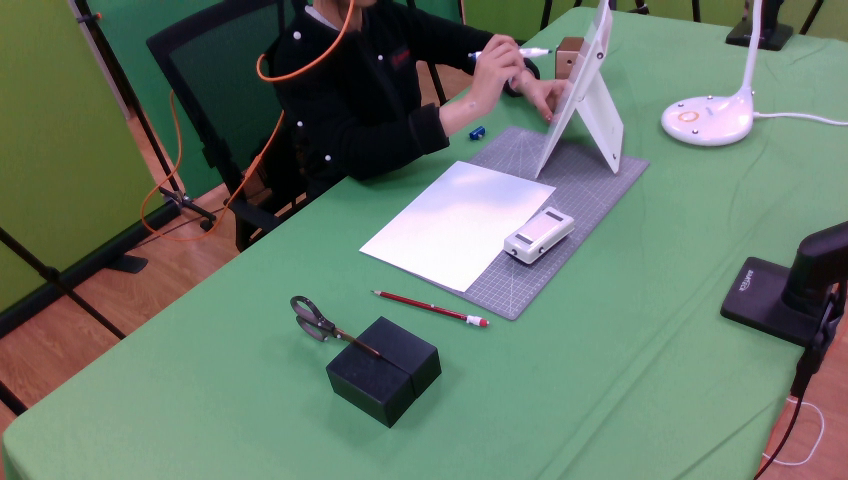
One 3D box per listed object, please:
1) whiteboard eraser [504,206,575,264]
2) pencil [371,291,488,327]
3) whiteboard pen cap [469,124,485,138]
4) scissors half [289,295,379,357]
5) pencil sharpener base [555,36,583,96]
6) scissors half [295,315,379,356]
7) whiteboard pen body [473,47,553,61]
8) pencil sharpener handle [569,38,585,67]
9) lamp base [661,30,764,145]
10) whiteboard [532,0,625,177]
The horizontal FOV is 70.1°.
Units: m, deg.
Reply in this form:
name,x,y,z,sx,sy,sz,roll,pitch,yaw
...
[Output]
name,x,y,z,sx,sy,sz,roll,pitch,yaw
whiteboard eraser,0.179,-0.006,0.936,0.113,0.042,0.055,-35,46,-27
pencil,0.003,0.097,0.877,0.193,0.012,0.012,13,45,26
whiteboard pen cap,0.107,-0.220,1.224,0.033,0.018,0.018,-38,48,-24
scissors half,-0.122,0.114,0.803,0.174,0.040,0.013,26,50,32
pencil sharpener base,0.318,-0.371,1.290,0.061,0.107,0.076,10,44,22
scissors half,-0.118,0.131,0.813,0.173,0.040,0.013,9,34,45
whiteboard pen body,0.157,-0.331,1.070,0.140,0.017,0.017,-3,41,8
pencil sharpener handle,0.332,-0.413,1.317,0.036,0.068,0.030,19,47,13
lamp base,0.535,-0.287,1.096,0.179,0.181,0.159,-10,40,-4
whiteboard,0.320,-0.258,1.050,0.144,0.306,0.217,21,45,4
